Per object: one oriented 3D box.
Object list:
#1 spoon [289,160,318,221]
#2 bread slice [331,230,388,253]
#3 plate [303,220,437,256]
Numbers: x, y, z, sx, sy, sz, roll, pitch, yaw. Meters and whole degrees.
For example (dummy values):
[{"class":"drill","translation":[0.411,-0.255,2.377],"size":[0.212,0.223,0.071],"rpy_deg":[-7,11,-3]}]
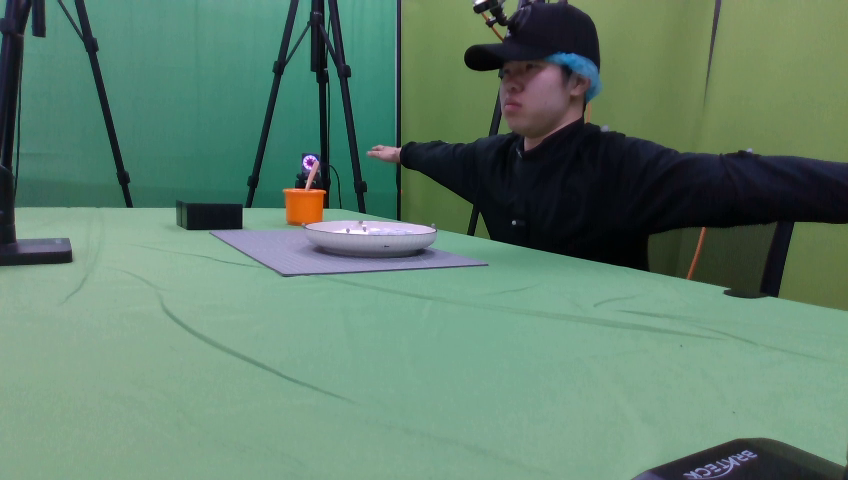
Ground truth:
[{"class":"spoon","translation":[-0.259,-0.112,1.339],"size":[0.041,0.193,0.022],"rpy_deg":[1,-37,11]},{"class":"bread slice","translation":[-0.088,0.000,0.947],"size":[0.105,0.019,0.131],"rpy_deg":[-4,11,-44]},{"class":"plate","translation":[-0.084,-0.003,0.951],"size":[0.209,0.038,0.209],"rpy_deg":[3,7,0]}]
